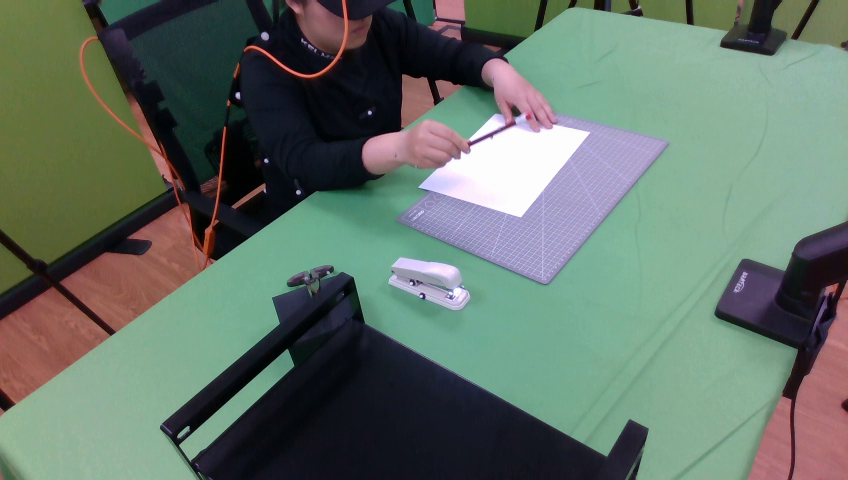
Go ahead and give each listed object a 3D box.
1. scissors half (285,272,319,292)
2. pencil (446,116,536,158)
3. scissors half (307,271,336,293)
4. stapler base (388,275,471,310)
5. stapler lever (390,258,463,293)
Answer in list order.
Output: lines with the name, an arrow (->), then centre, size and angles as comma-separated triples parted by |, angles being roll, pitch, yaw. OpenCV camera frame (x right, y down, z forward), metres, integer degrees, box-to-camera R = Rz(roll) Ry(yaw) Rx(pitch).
scissors half -> -0.171, 0.063, 0.868 | 0.040, 0.013, 0.174 | -10, 7, -21
pencil -> 0.097, -0.155, 0.931 | 0.193, 0.012, 0.012 | -16, 24, 49
scissors half -> -0.151, 0.061, 0.872 | 0.040, 0.013, 0.175 | -3, 6, -4
stapler base -> 0.007, 0.066, 0.897 | 0.129, 0.024, 0.041 | 17, 43, 29
stapler lever -> 0.003, 0.046, 0.881 | 0.117, 0.040, 0.027 | 17, 43, 29
